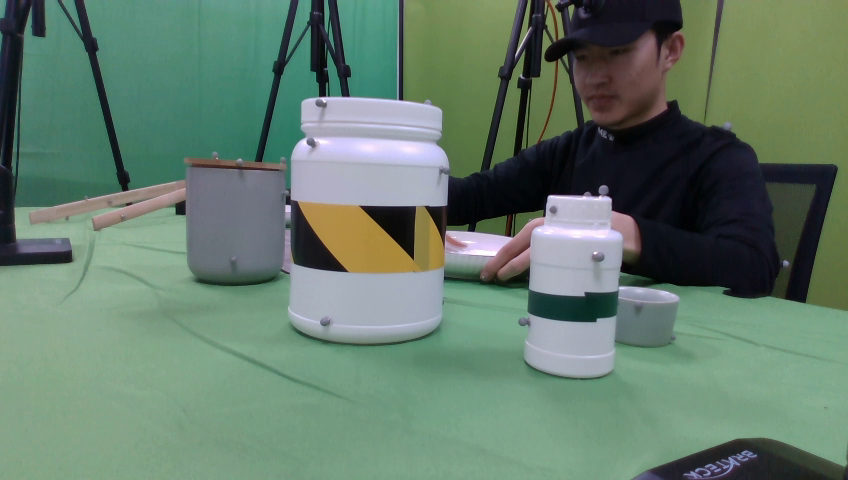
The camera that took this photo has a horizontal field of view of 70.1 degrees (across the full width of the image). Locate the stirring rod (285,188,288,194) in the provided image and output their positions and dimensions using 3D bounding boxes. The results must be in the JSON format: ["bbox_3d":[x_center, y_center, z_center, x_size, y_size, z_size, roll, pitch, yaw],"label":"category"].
[{"bbox_3d":[-0.353,-0.122,1.518,0.006,0.014,0.176,1,7,1],"label":"stirring rod"}]

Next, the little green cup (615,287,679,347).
[{"bbox_3d":[0.180,0.064,0.506,0.061,0.038,0.061,1,8,0],"label":"little green cup"}]

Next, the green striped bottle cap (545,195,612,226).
[{"bbox_3d":[0.106,-0.020,0.414,0.044,0.020,0.044,2,4,0],"label":"green striped bottle cap"}]

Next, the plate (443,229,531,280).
[{"bbox_3d":[0.056,0.019,0.815,0.209,0.038,0.209,4,9,0],"label":"plate"}]

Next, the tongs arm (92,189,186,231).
[{"bbox_3d":[-0.534,-0.076,1.221,0.028,0.028,0.388,-2,15,12],"label":"tongs arm"}]

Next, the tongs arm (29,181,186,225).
[{"bbox_3d":[-0.609,-0.083,1.245,0.050,0.026,0.386,5,16,23],"label":"tongs arm"}]

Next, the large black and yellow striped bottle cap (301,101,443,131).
[{"bbox_3d":[-0.042,-0.100,0.491,0.115,0.019,0.115,1,8,0],"label":"large black and yellow striped bottle cap"}]

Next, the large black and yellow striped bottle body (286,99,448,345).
[{"bbox_3d":[-0.047,-0.018,0.501,0.131,0.184,0.130,2,7,0],"label":"large black and yellow striped bottle body"}]

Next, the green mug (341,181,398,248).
[{"bbox_3d":[-0.089,-0.044,0.997,0.093,0.105,0.125,1,7,-8],"label":"green mug"}]

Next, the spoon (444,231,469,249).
[{"bbox_3d":[-0.010,-0.051,0.866,0.194,0.021,0.041,45,0,-4],"label":"spoon"}]

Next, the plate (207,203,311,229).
[{"bbox_3d":[-0.342,-0.050,1.259,0.208,0.039,0.207,2,7,0],"label":"plate"}]

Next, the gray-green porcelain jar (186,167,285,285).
[{"bbox_3d":[-0.212,-0.017,0.682,0.106,0.126,0.106,2,7,0],"label":"gray-green porcelain jar"}]

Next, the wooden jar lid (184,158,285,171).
[{"bbox_3d":[-0.210,-0.078,0.674,0.108,0.020,0.108,5,6,0],"label":"wooden jar lid"}]

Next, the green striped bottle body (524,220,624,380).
[{"bbox_3d":[0.104,0.031,0.422,0.063,0.119,0.063,2,8,0],"label":"green striped bottle body"}]
